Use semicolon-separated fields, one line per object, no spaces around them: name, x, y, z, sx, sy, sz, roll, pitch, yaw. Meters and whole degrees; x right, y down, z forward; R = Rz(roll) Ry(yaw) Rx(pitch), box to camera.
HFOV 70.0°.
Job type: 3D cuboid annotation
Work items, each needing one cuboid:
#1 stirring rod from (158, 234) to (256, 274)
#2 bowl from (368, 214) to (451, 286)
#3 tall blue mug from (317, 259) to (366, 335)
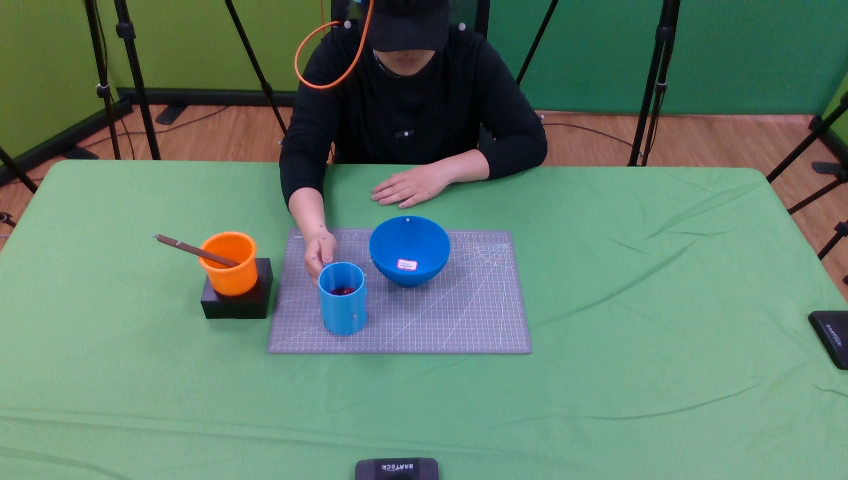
stirring rod;-0.353;0.024;1.000;0.177;0.006;0.014;26;31;-40
bowl;-0.028;0.032;1.122;0.151;0.077;0.150;2;46;-2
tall blue mug;-0.151;0.092;1.033;0.107;0.108;0.077;27;51;21
